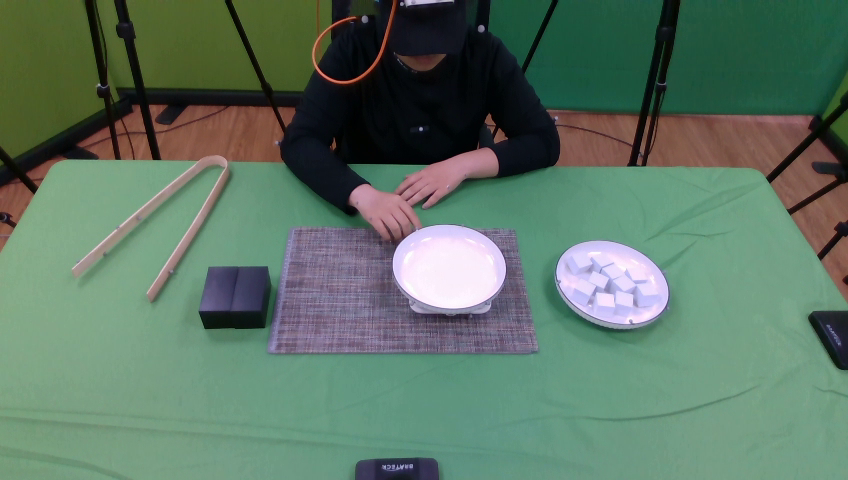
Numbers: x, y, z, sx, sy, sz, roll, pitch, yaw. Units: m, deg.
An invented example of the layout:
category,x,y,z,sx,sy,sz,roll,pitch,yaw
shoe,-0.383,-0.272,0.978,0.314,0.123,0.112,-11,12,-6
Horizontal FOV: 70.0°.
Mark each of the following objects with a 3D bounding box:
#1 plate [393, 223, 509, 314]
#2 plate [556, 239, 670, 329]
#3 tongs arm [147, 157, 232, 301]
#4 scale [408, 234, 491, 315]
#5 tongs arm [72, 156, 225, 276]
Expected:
category,x,y,z,sx,sy,sz,roll,pitch,yaw
plate,0.048,0.053,1.092,0.208,0.039,0.206,1,46,-1
plate,0.347,0.083,1.130,0.209,0.038,0.208,2,47,-2
tongs arm,-0.453,-0.034,1.193,0.028,0.028,0.385,7,46,6
scale,0.045,0.055,1.135,0.149,0.032,0.199,1,46,-3
tongs arm,-0.531,-0.057,1.204,0.050,0.026,0.383,19,47,13
